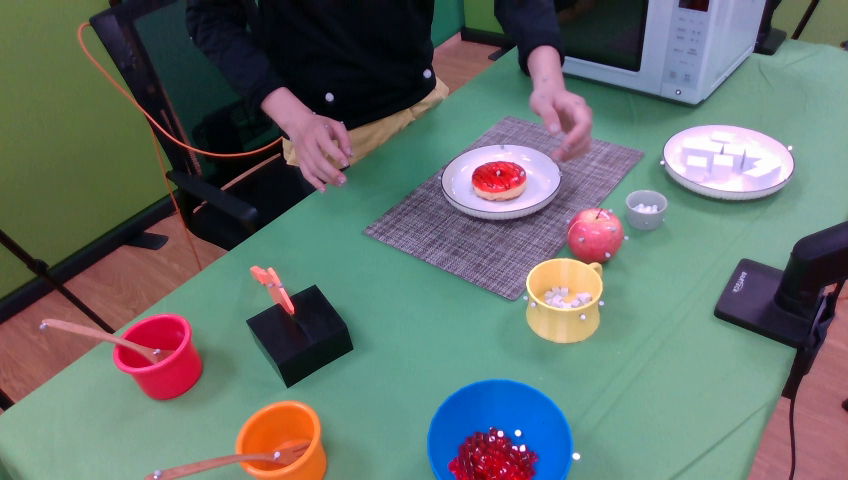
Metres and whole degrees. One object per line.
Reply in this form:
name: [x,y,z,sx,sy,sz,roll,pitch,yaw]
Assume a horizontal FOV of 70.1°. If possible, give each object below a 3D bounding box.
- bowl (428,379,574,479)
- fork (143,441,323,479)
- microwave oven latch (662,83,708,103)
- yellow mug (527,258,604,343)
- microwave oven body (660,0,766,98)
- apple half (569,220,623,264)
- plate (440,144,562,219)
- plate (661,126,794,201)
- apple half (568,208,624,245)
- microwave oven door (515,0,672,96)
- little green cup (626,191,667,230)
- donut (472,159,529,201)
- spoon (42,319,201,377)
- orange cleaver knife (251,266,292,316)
bowl: [0.082,0.233,0.644,0.151,0.077,0.150,-4,40,4]
fork: [-0.189,0.231,0.631,0.028,0.018,0.209,35,13,37]
microwave oven latch: [0.518,-0.296,1.204,0.078,0.029,0.030,28,52,35]
yellow mug: [0.201,0.073,0.825,0.131,0.064,0.099,-32,46,-27]
microwave oven body: [0.472,-0.513,1.317,0.438,0.261,0.327,26,51,34]
apple half: [0.251,0.010,0.884,0.081,0.081,0.032,3,37,12]
plate: [0.134,-0.098,1.051,0.209,0.038,0.208,-4,40,4]
plate: [0.513,-0.128,1.035,0.207,0.039,0.206,-4,40,4]
apple half: [0.259,-0.014,0.914,0.080,0.075,0.053,0,36,15]
microwave oven door: [0.343,-0.455,1.259,0.353,0.245,0.039,26,51,33]
little green cup: [0.352,-0.046,0.963,0.061,0.039,0.061,-4,40,4]
donut: [0.132,-0.105,1.043,0.099,0.048,0.098,-4,38,4]
spoon: [-0.385,0.135,0.779,0.195,0.021,0.041,29,37,-26]
orange cleaver knife: [-0.221,0.071,0.873,0.012,0.077,0.210,-25,11,-21]
